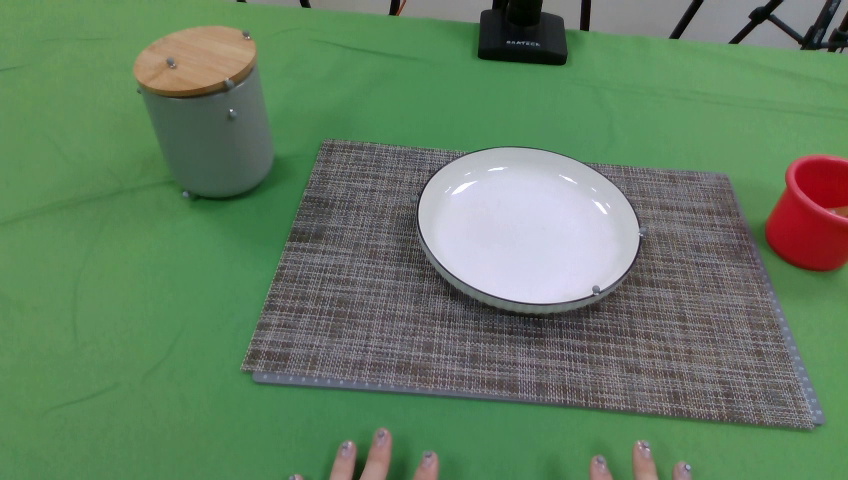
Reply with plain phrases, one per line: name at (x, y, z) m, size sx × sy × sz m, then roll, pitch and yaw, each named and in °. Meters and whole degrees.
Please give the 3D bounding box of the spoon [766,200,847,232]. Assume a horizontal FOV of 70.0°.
spoon at (0.414, -0.036, 0.543) m, size 0.193 × 0.022 × 0.041 m, roll -17°, pitch 28°, yaw 46°

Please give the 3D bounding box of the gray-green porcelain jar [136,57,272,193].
gray-green porcelain jar at (-0.208, -0.118, 0.593) m, size 0.106 × 0.127 × 0.105 m, roll 2°, pitch 48°, yaw -2°

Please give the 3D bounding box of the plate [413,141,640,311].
plate at (0.093, -0.014, 0.570) m, size 0.208 × 0.039 × 0.205 m, roll 2°, pitch 48°, yaw -2°

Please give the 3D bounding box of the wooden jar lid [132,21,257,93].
wooden jar lid at (-0.204, -0.162, 0.545) m, size 0.108 × 0.021 × 0.107 m, roll 0°, pitch 49°, yaw 0°
